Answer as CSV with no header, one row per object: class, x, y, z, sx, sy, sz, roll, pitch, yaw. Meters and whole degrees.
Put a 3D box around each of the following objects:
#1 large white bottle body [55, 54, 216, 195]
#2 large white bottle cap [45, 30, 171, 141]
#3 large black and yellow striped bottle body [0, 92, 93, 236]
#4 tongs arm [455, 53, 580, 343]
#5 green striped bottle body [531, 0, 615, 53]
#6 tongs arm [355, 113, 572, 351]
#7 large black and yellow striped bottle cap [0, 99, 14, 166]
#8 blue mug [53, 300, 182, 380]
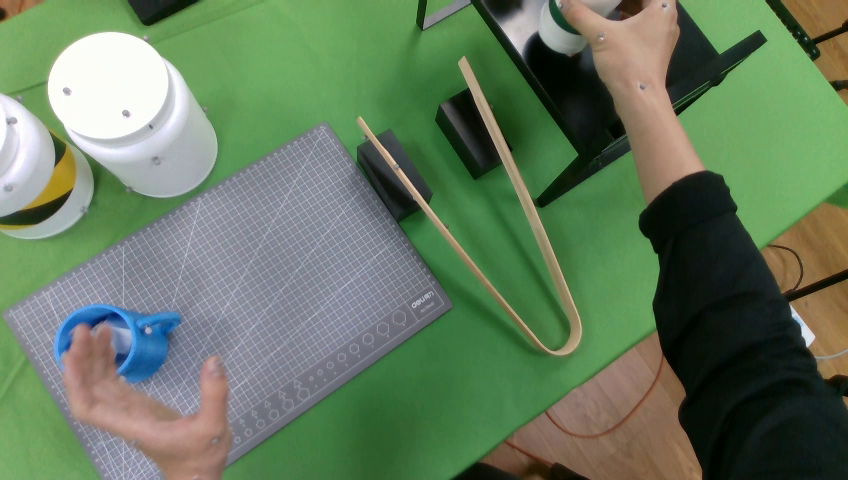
large white bottle body,-0.322,-0.136,0.686,0.131,0.185,0.130,1,78,-6
large white bottle cap,-0.314,-0.155,0.604,0.115,0.018,0.114,1,78,-6
large black and yellow striped bottle body,-0.466,-0.085,0.661,0.131,0.184,0.130,1,78,-6
tongs arm,0.118,-0.051,0.762,0.028,0.027,0.388,-25,94,-19
green striped bottle body,0.151,-0.238,0.580,0.063,0.119,0.063,3,75,-10
tongs arm,0.052,-0.008,0.743,0.051,0.026,0.386,-39,97,-14
large black and yellow striped bottle cap,-0.459,-0.103,0.579,0.115,0.019,0.114,2,79,-8
blue mug,-0.329,0.106,0.676,0.116,0.106,0.082,-26,82,-11
